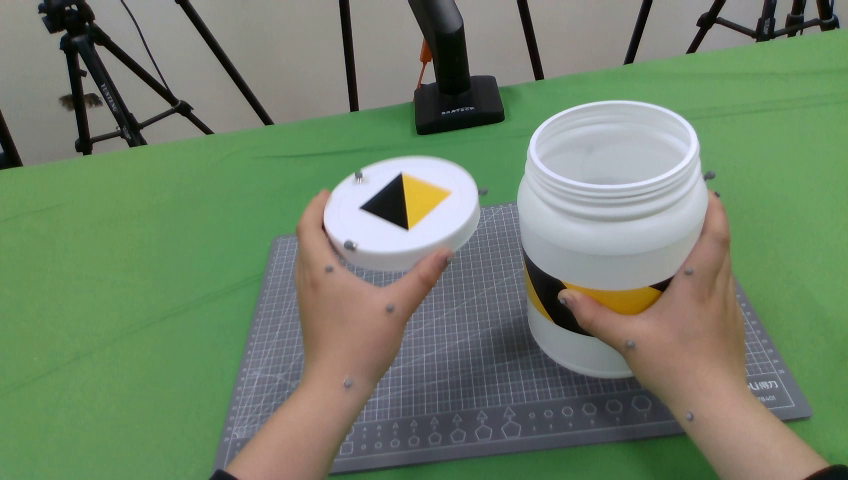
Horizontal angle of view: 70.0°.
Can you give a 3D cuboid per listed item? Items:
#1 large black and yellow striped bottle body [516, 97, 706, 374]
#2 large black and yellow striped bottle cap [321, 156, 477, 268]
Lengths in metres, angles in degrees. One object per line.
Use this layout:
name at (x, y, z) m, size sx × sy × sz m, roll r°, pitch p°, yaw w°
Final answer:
large black and yellow striped bottle body at (0.139, -0.001, 0.463) m, size 0.130 × 0.186 × 0.129 m, roll -7°, pitch 41°, yaw 7°
large black and yellow striped bottle cap at (-0.018, -0.025, 0.445) m, size 0.115 × 0.019 × 0.114 m, roll -4°, pitch 41°, yaw 4°
